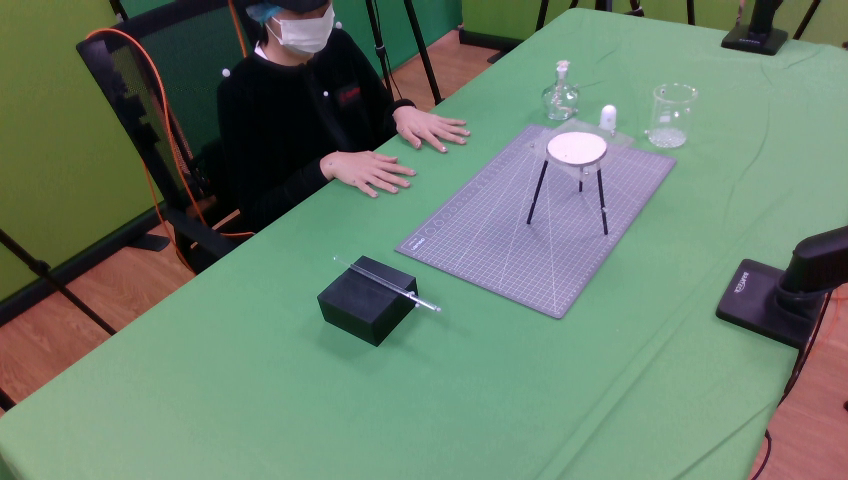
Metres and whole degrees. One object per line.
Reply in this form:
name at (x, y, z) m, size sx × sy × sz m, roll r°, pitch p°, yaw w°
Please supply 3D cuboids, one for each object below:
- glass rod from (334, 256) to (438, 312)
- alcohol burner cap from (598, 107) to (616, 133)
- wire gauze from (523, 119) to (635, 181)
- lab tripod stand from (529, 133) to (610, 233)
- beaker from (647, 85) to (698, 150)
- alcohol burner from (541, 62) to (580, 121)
glass rod at (-0.058, 0.060, 0.850) m, size 0.198 × 0.008 × 0.008 m, roll 24°, pitch 49°, yaw 33°
alcohol burner cap at (0.361, -0.238, 1.189) m, size 0.034 × 0.048 × 0.033 m, roll -4°, pitch 40°, yaw 4°
wire gauze at (0.233, -0.143, 0.913) m, size 0.122 × 0.011 × 0.124 m, roll -32°, pitch 45°, yaw -25°
lab tripod stand at (0.236, -0.089, 0.953) m, size 0.148 × 0.132 × 0.147 m, roll -5°, pitch 42°, yaw 5°
beaker at (0.454, -0.223, 1.110) m, size 0.084 × 0.101 × 0.073 m, roll -10°, pitch 40°, yaw -4°
alcohol burner at (0.276, -0.302, 1.222) m, size 0.078 × 0.119 × 0.077 m, roll -4°, pitch 38°, yaw 4°
